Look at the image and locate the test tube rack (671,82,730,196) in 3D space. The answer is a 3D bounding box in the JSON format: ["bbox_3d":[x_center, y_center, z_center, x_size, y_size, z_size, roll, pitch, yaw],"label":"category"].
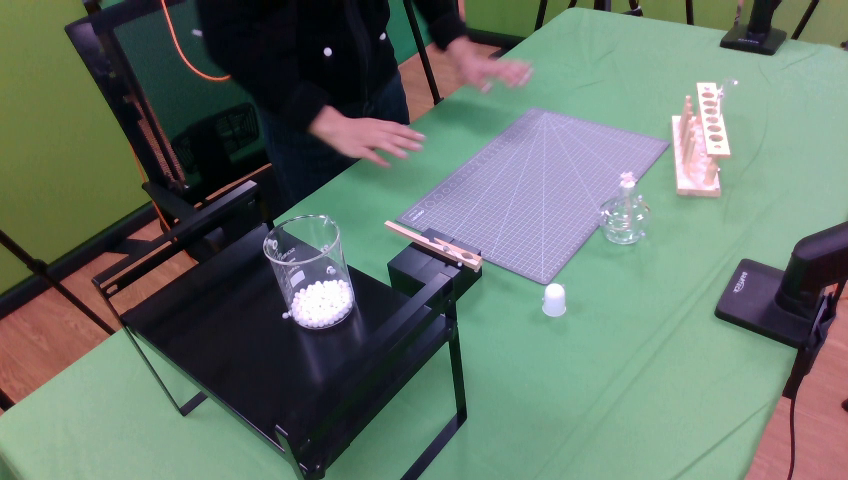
[{"bbox_3d":[0.482,-0.184,1.067,0.066,0.085,0.242,6,42,15],"label":"test tube rack"}]

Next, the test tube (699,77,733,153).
[{"bbox_3d":[0.489,-0.207,1.017,0.017,0.151,0.017,-2,48,3],"label":"test tube"}]

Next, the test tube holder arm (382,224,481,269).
[{"bbox_3d":[0.007,0.007,0.896,0.177,0.015,0.013,19,49,30],"label":"test tube holder arm"}]

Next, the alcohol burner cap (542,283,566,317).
[{"bbox_3d":[0.181,0.081,0.840,0.034,0.048,0.033,-3,40,3],"label":"alcohol burner cap"}]

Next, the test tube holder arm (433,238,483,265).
[{"bbox_3d":[0.047,0.017,0.876,0.087,0.015,0.010,21,50,31],"label":"test tube holder arm"}]

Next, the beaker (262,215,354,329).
[{"bbox_3d":[-0.112,0.034,0.616,0.073,0.101,0.084,13,44,23],"label":"beaker"}]

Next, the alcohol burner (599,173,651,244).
[{"bbox_3d":[0.307,-0.052,0.920,0.078,0.119,0.077,-6,42,6],"label":"alcohol burner"}]
